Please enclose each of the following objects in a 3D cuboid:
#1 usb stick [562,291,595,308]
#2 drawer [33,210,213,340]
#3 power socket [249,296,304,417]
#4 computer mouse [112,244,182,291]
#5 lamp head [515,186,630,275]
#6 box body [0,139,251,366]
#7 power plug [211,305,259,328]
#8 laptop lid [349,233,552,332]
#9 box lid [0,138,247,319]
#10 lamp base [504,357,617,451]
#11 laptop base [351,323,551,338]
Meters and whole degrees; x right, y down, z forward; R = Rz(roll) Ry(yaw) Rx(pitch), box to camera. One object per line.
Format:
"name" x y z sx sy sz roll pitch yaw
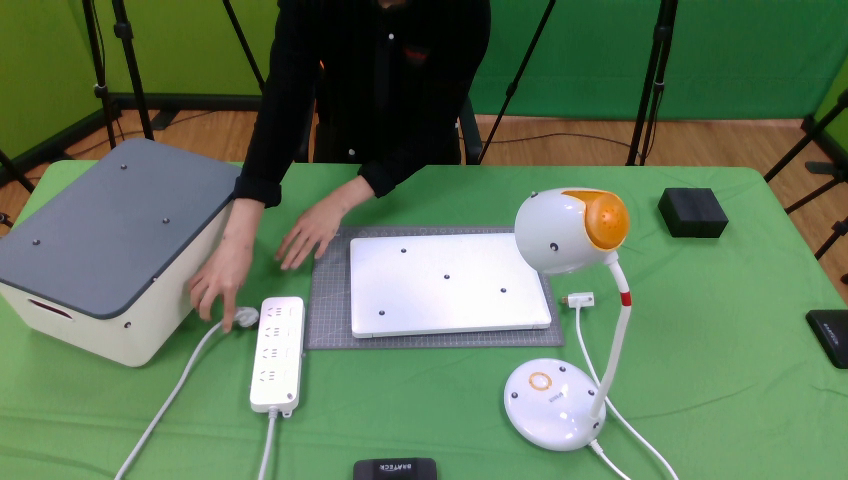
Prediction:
"usb stick" 0.280 0.109 1.105 0.059 0.021 0.027 -6 13 23
"drawer" -0.509 0.054 1.046 0.194 0.073 0.211 15 43 11
"power socket" -0.239 0.182 0.997 0.072 0.033 0.225 -2 47 -4
"computer mouse" -0.492 0.046 1.078 0.117 0.041 0.062 24 41 13
"lamp head" 0.188 -0.013 0.728 0.112 0.112 0.122 -25 9 -25
"box body" -0.496 0.013 1.048 0.254 0.161 0.362 17 47 12
"power plug" -0.318 0.135 1.031 0.072 0.053 0.035 -21 44 2
"laptop lid" 0.040 0.070 1.119 0.357 0.013 0.240 -1 44 -5
"box lid" -0.494 -0.037 0.994 0.263 0.015 0.370 17 46 12
"lamp base" 0.220 0.211 0.903 0.160 0.181 0.178 -32 59 -30
"laptop base" 0.040 0.080 1.126 0.355 0.023 0.234 -2 43 -6
